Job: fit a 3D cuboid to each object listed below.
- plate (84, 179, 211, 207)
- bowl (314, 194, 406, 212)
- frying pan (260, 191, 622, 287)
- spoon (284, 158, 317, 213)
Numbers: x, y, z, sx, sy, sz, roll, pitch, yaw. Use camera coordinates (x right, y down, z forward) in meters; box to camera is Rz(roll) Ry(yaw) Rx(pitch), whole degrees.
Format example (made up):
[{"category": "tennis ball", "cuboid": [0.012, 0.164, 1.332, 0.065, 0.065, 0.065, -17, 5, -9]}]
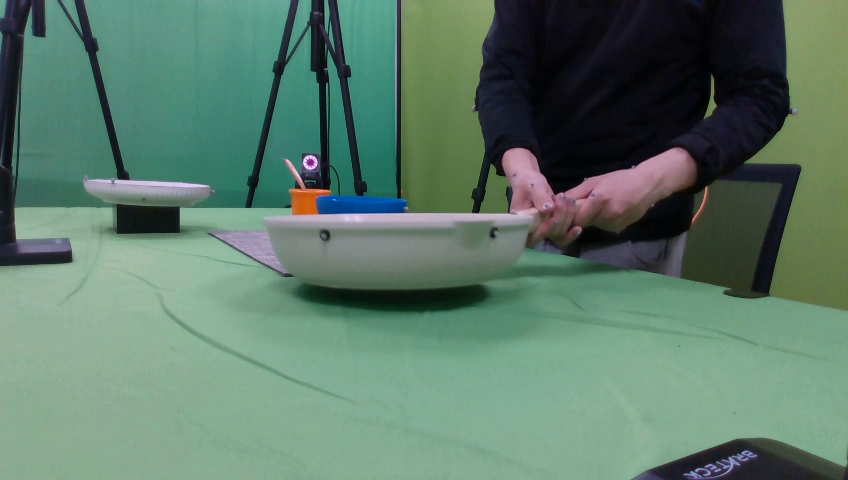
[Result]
[{"category": "plate", "cuboid": [-0.495, -0.085, 1.093, 0.208, 0.039, 0.207, 4, 7, 0]}, {"category": "bowl", "cuboid": [-0.105, -0.032, 0.991, 0.151, 0.077, 0.151, 3, 7, 0]}, {"category": "frying pan", "cuboid": [0.061, -0.019, 0.716, 0.490, 0.102, 0.305, -12, 10, -28]}, {"category": "spoon", "cuboid": [-0.269, -0.113, 1.335, 0.042, 0.193, 0.021, -4, -34, -42]}]
